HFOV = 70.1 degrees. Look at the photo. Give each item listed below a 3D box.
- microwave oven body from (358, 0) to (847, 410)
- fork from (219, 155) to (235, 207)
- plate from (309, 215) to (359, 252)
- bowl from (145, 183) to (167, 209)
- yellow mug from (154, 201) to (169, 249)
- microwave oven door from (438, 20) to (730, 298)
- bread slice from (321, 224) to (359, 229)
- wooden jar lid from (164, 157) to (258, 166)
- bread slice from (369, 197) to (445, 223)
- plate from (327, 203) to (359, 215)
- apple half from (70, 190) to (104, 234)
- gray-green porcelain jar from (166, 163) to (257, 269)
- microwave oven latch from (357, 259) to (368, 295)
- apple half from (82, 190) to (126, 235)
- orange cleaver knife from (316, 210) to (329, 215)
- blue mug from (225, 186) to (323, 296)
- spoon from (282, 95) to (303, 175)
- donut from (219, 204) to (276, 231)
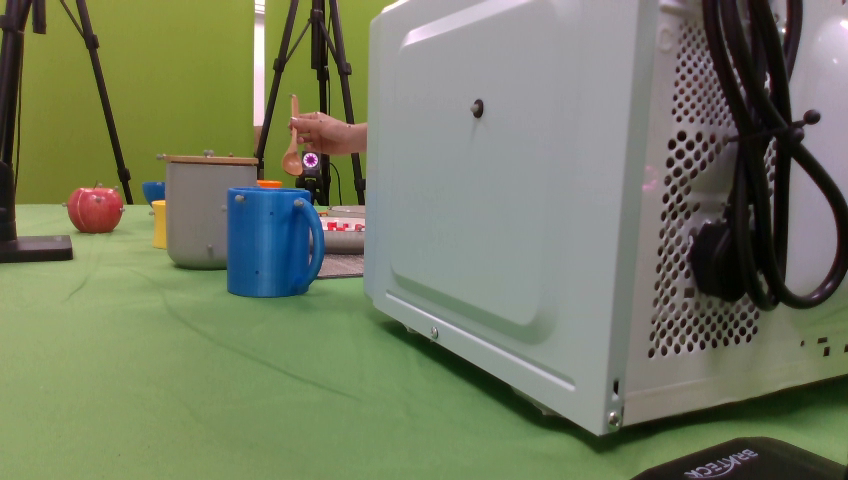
[{"bbox_3d":[0.210,-0.051,0.471,0.444,0.260,0.324,-1,7,-28],"label":"microwave oven body"},{"bbox_3d":[-0.459,-0.134,1.415,0.028,0.018,0.207,-1,-34,-24],"label":"fork"},{"bbox_3d":[-0.130,-0.011,0.945,0.208,0.039,0.207,2,8,0],"label":"plate"},{"bbox_3d":[-0.459,-0.068,1.175,0.151,0.077,0.151,3,7,0],"label":"bowl"},{"bbox_3d":[-0.337,-0.022,0.899,0.130,0.064,0.100,8,9,34],"label":"yellow mug"},{"bbox_3d":[0.181,-0.076,0.618,0.358,0.243,0.039,-2,8,-28],"label":"microwave oven door"},{"bbox_3d":[-0.124,-0.009,0.938,0.131,0.019,0.105,7,9,31],"label":"bread slice"},{"bbox_3d":[-0.261,-0.093,0.746,0.108,0.020,0.108,0,9,0],"label":"wooden jar lid"},{"bbox_3d":[-0.039,-0.056,1.142,0.107,0.018,0.133,-7,-8,-41],"label":"bread slice"},{"bbox_3d":[-0.102,-0.053,1.299,0.209,0.038,0.209,2,8,0],"label":"plate"},{"bbox_3d":[-0.552,-0.047,1.010,0.053,0.074,0.081,-1,9,26],"label":"apple half"},{"bbox_3d":[-0.263,-0.031,0.754,0.106,0.126,0.106,2,7,0],"label":"gray-green porcelain jar"},{"bbox_3d":[-0.019,0.031,0.529,0.079,0.029,0.030,-1,7,-26],"label":"microwave oven latch"},{"bbox_3d":[-0.517,-0.046,0.994,0.032,0.081,0.081,0,6,26],"label":"apple half"},{"bbox_3d":[-0.259,-0.064,1.423,0.212,0.012,0.077,-4,3,-30],"label":"orange cleaver knife"},{"bbox_3d":[-0.148,0.000,0.618,0.116,0.106,0.083,7,9,33],"label":"blue mug"},{"bbox_3d":[-0.252,-0.207,1.174,0.042,0.193,0.021,12,-28,-28],"label":"spoon"},{"bbox_3d":[-0.316,-0.039,1.083,0.099,0.048,0.099,3,7,0],"label":"donut"}]
